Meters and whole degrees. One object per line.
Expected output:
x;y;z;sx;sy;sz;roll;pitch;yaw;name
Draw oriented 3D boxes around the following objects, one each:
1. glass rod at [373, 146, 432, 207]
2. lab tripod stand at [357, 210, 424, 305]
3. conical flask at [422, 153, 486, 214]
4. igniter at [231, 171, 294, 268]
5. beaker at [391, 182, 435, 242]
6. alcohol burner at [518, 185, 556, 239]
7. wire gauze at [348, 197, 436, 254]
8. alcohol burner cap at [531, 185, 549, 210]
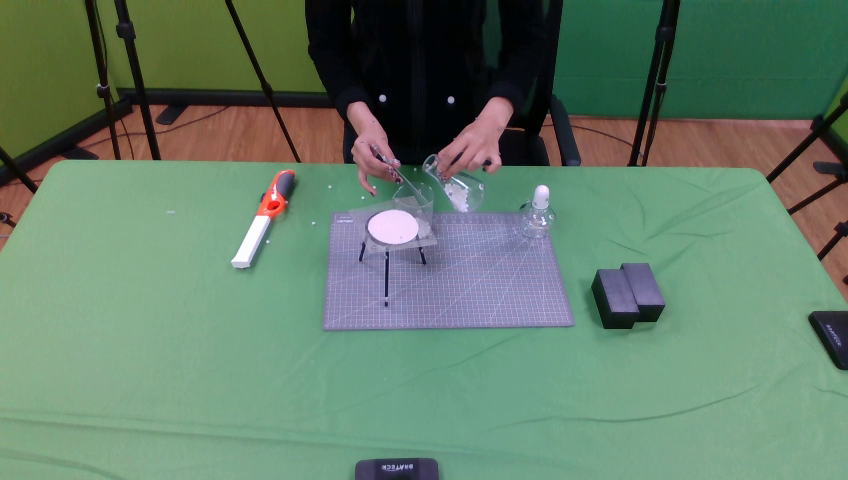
-0.036;-0.113;1.117;0.008;0.201;0.008;-18;53;25;glass rod
-0.060;0.020;1.094;0.148;0.132;0.147;3;44;-2;lab tripod stand
0.051;-0.109;1.118;0.122;0.075;0.075;39;32;-30;conical flask
-0.321;-0.051;1.220;0.057;0.025;0.275;2;45;11;igniter
-0.023;-0.053;1.192;0.084;0.101;0.073;-3;46;-6;beaker
0.227;-0.061;1.209;0.078;0.120;0.077;1;44;-1;alcohol burner
-0.056;-0.026;1.045;0.125;0.011;0.120;-11;46;-17;wire gauze
0.228;-0.085;1.183;0.034;0.048;0.033;-1;48;2;alcohol burner cap
